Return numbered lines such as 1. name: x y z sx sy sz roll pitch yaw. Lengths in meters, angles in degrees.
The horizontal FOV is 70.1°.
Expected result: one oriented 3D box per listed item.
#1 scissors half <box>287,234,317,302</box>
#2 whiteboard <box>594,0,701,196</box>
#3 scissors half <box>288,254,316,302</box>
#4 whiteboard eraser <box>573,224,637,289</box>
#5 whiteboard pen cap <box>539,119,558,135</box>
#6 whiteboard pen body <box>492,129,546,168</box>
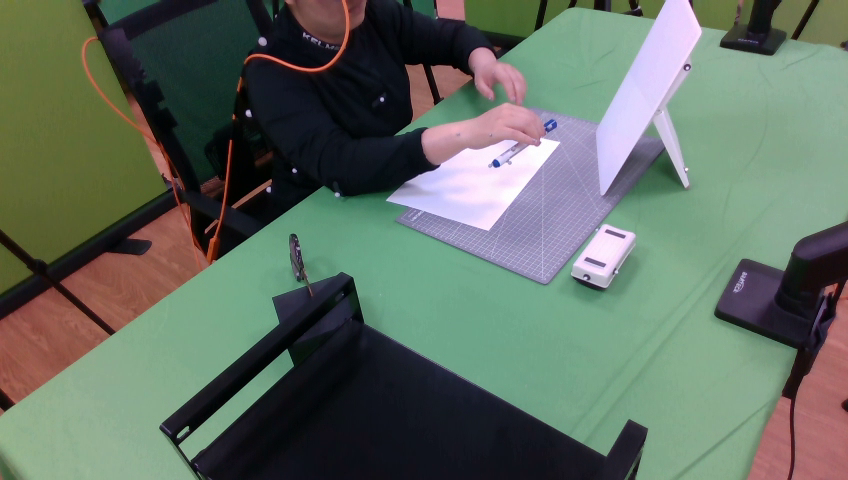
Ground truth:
1. scissors half: -0.179 0.040 0.885 0.013 0.040 0.173 -11 36 -20
2. whiteboard: 0.420 -0.227 1.010 0.144 0.305 0.216 18 42 -2
3. scissors half: -0.178 0.058 0.894 0.013 0.040 0.174 -16 20 -17
4. whiteboard eraser: 0.267 0.025 0.891 0.055 0.042 0.113 19 47 31
5. whiteboard pen cap: 0.210 -0.190 1.026 0.033 0.018 0.018 -37 48 -21
6. whiteboard pen body: 0.166 -0.157 1.004 0.141 0.017 0.017 -35 47 -25
